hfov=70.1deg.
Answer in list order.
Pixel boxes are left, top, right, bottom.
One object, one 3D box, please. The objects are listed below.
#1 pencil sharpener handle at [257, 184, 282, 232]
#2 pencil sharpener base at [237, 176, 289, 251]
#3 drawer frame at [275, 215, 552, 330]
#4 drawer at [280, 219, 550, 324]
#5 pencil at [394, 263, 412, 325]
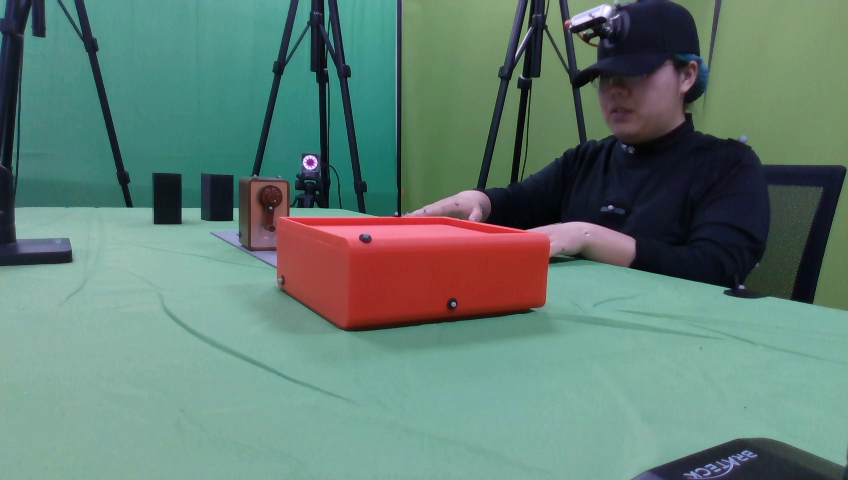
[{"bbox_3d":[-0.219,-0.046,0.865,0.036,0.067,0.030,6,5,-29],"label":"pencil sharpener handle"},{"bbox_3d":[-0.243,-0.040,0.912,0.061,0.107,0.076,-1,8,-29],"label":"pencil sharpener base"},{"bbox_3d":[-0.017,0.022,0.610,0.215,0.082,0.200,-2,9,-31],"label":"drawer frame"},{"bbox_3d":[-0.016,0.023,0.612,0.213,0.073,0.193,-2,9,-30],"label":"drawer"},{"bbox_3d":[-0.021,0.052,0.614,0.012,0.012,0.194,3,12,0],"label":"pencil"}]
